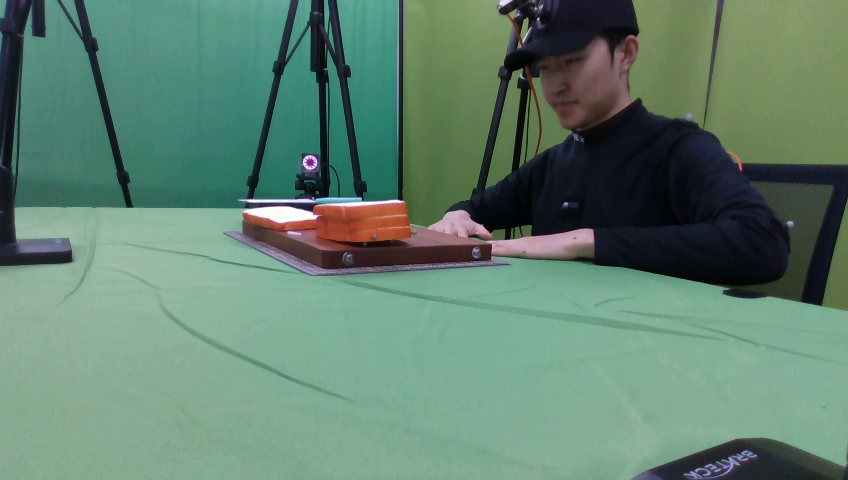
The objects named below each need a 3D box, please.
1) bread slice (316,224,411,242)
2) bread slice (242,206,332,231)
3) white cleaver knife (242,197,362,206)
[{"bbox_3d":[-0.082,-0.010,0.848,0.107,0.018,0.133,-5,5,-28],"label":"bread slice"},{"bbox_3d":[-0.233,-0.036,1.001,0.131,0.019,0.105,13,16,40],"label":"bread slice"},{"bbox_3d":[-0.256,-0.086,1.295,0.288,0.021,0.065,-2,10,-41],"label":"white cleaver knife"}]
